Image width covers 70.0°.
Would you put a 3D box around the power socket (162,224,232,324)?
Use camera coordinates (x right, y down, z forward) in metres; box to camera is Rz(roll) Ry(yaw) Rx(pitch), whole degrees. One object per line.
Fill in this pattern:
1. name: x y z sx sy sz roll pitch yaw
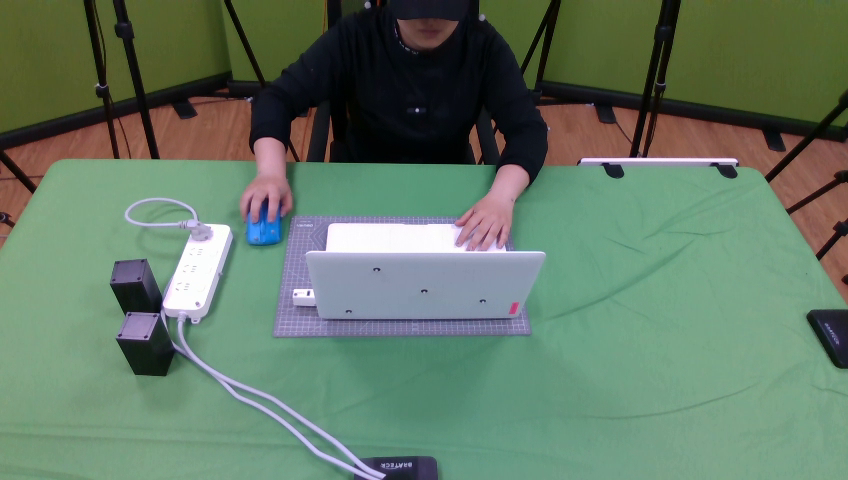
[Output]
1. power socket: -0.411 0.052 1.106 0.072 0.033 0.225 4 45 -1

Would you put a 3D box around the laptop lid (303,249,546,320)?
1. laptop lid: -0.002 0.077 0.962 0.357 0.242 0.013 1 58 -5

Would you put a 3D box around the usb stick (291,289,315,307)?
1. usb stick: -0.203 0.102 1.066 0.059 0.027 0.021 4 45 -5

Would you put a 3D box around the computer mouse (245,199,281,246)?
1. computer mouse: -0.318 -0.039 1.201 0.063 0.041 0.116 -1 50 -8

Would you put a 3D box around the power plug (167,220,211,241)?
1. power plug: -0.438 -0.017 1.143 0.072 0.053 0.035 10 43 7

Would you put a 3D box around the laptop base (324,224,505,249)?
1. laptop base: -0.014 0.055 1.144 0.355 0.023 0.234 0 42 -4
